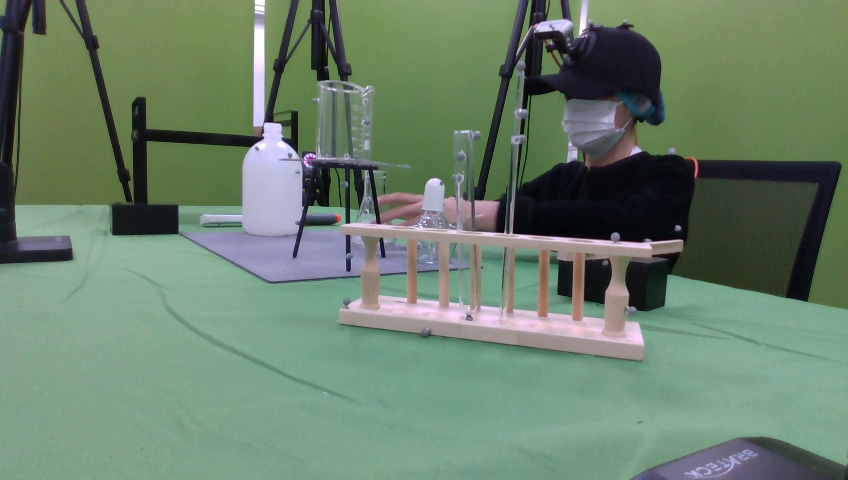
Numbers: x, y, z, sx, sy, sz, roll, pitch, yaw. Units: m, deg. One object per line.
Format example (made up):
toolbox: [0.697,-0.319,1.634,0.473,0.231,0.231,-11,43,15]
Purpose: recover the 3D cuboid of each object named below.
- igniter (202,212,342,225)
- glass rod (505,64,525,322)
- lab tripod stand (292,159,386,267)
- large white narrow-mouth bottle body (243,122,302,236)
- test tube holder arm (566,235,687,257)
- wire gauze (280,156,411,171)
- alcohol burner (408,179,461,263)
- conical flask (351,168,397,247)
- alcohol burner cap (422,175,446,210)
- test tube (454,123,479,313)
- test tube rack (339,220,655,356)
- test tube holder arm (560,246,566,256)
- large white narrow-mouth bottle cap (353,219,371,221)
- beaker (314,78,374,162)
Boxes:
igniter: [-0.298,-0.043,1.216,0.278,0.025,0.057,-3,-2,-32]
glass rod: [0.069,-0.030,0.458,0.008,0.199,0.008,0,15,0]
lab tripod stand: [-0.105,-0.039,0.797,0.148,0.131,0.148,2,5,0]
large white narrow-mouth bottle body: [-0.264,-0.109,1.061,0.102,0.194,0.102,2,8,0]
test tube holder arm: [0.215,0.006,0.629,0.179,0.015,0.013,-3,9,-30]
wire gauze: [-0.103,-0.103,0.785,0.121,0.011,0.126,11,8,42]
alcohol burner: [0.013,-0.029,0.834,0.078,0.119,0.078,0,6,0]
conical flask: [-0.079,-0.053,0.963,0.075,0.122,0.075,3,8,0]
alcohol burner cap: [0.016,-0.065,0.830,0.034,0.048,0.034,7,4,0]
test tube: [0.034,-0.016,0.477,0.017,0.150,0.017,-2,9,1]
test tube rack: [0.056,0.032,0.495,0.242,0.085,0.067,4,7,15]
test tube holder arm: [0.173,0.007,0.611,0.088,0.015,0.010,-3,9,-30]
large white narrow-mouth bottle cap: [-0.120,-0.029,1.184,0.038,0.024,0.037,2,8,0]
beaker: [-0.101,-0.151,0.775,0.074,0.100,0.083,-2,8,-39]
